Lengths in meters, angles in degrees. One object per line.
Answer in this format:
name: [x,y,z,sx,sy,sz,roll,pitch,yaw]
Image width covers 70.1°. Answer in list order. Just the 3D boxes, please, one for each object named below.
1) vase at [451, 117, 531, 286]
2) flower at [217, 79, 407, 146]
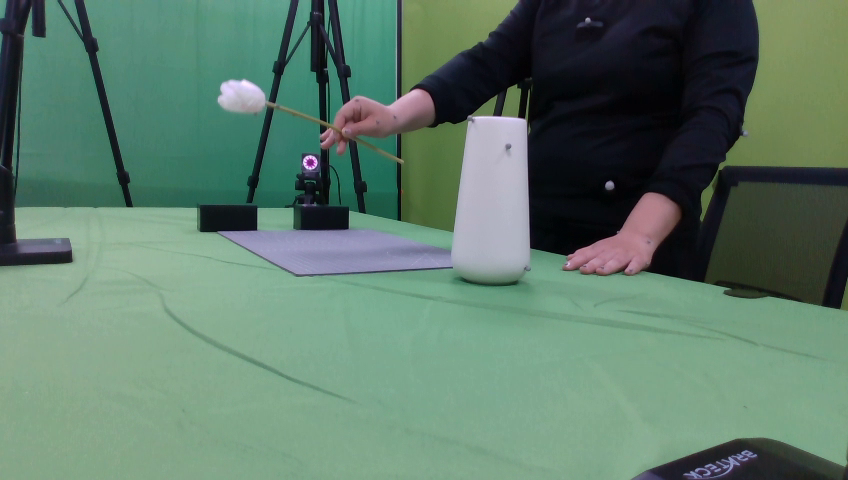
vase: [0.083,-0.047,0.737,0.098,0.200,0.098,1,6,0]
flower: [-0.148,-0.181,0.931,0.364,0.044,0.038,7,46,-50]
